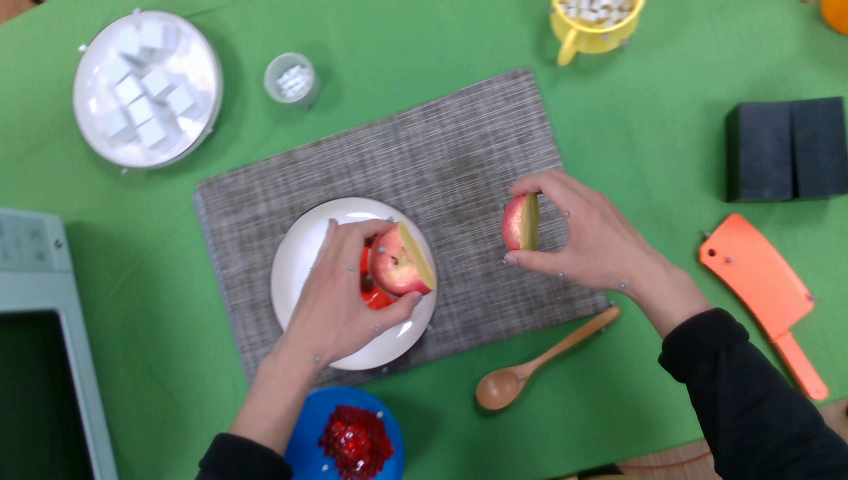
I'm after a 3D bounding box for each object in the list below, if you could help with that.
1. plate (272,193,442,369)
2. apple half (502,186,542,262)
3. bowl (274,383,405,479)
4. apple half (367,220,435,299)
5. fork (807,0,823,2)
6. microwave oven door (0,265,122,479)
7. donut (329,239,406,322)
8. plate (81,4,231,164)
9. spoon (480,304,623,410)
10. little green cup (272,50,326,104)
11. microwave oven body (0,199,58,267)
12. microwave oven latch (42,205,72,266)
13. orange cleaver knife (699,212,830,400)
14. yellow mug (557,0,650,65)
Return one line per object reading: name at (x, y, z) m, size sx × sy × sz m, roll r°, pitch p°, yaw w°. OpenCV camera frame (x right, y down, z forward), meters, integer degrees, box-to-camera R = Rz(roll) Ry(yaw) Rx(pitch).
plate at (-0.079, 0.048, 0.726) m, size 0.209 × 0.038 × 0.209 m, roll -1°, pitch 88°, yaw 11°
apple half at (0.094, -0.018, 0.607) m, size 0.032 × 0.082 × 0.081 m, roll 4°, pitch 88°, yaw 24°
bowl at (-0.088, 0.236, 0.703) m, size 0.151 × 0.077 × 0.151 m, roll -1°, pitch 87°, yaw 11°
apple half at (-0.028, 0.025, 0.620) m, size 0.053 × 0.074 × 0.081 m, roll -29°, pitch 91°, yaw 11°
fork at (0.426, -0.246, 0.593) m, size 0.208 × 0.018 × 0.028 m, roll -19°, pitch 82°, yaw -35°
microwave oven door at (-0.450, 0.201, 0.669) m, size 0.039 × 0.244 × 0.355 m, roll -16°, pitch 84°, yaw 10°
donut at (-0.063, 0.047, 0.712) m, size 0.099 × 0.048 × 0.099 m, roll 0°, pitch 90°, yaw 11°
plate at (-0.344, -0.200, 0.790) m, size 0.207 × 0.039 × 0.207 m, roll -1°, pitch 87°, yaw 11°
spoon at (0.147, 0.132, 0.692) m, size 0.194 × 0.022 × 0.041 m, roll -36°, pitch 68°, yaw 7°
little green cup at (-0.153, -0.200, 0.755) m, size 0.061 × 0.039 × 0.061 m, roll -1°, pitch 87°, yaw 11°
microwave oven body at (-0.599, 0.199, 0.702) m, size 0.326 × 0.261 × 0.440 m, roll -15°, pitch 85°, yaw 9°
microwave oven latch at (-0.484, -0.005, 0.788) m, size 0.030 × 0.029 × 0.079 m, roll -13°, pitch 86°, yaw 9°
orange cleaver knife at (0.381, 0.068, 0.654) m, size 0.077 × 0.012 × 0.210 m, roll -32°, pitch 80°, yaw 2°
yellow mug at (0.192, -0.256, 0.679) m, size 0.099 × 0.064 × 0.131 m, roll 30°, pitch 94°, yaw 10°
